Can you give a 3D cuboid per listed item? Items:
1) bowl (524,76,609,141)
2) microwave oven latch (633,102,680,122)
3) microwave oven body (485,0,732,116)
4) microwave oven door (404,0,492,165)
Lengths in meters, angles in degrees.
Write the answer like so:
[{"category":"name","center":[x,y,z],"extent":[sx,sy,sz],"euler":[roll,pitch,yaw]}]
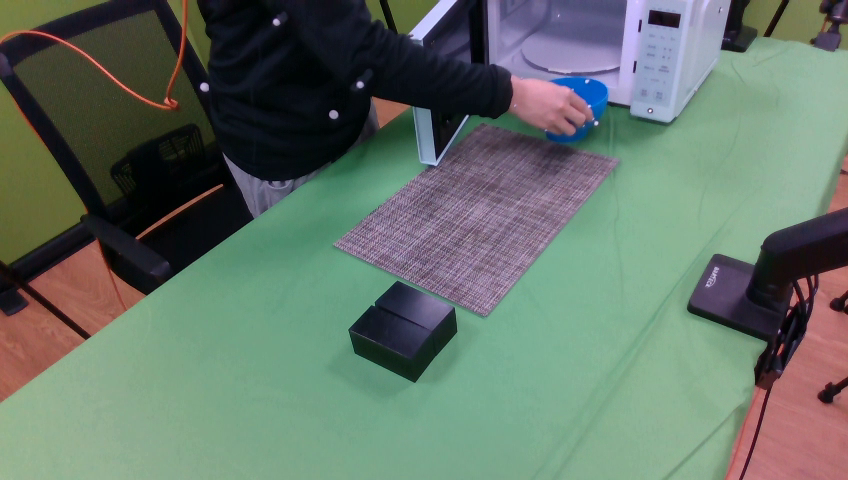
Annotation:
[{"category":"bowl","center":[0.260,-0.233,1.102],"extent":[0.151,0.077,0.150],"euler":[-8,36,6]},{"category":"microwave oven latch","center":[0.444,-0.249,1.157],"extent":[0.078,0.029,0.030],"euler":[21,49,30]},{"category":"microwave oven body","center":[0.377,-0.463,1.267],"extent":[0.438,0.261,0.327],"euler":[21,49,30]},{"category":"microwave oven door","center":[0.058,-0.343,1.166],"extent":[0.039,0.245,0.355],"euler":[10,43,20]}]
